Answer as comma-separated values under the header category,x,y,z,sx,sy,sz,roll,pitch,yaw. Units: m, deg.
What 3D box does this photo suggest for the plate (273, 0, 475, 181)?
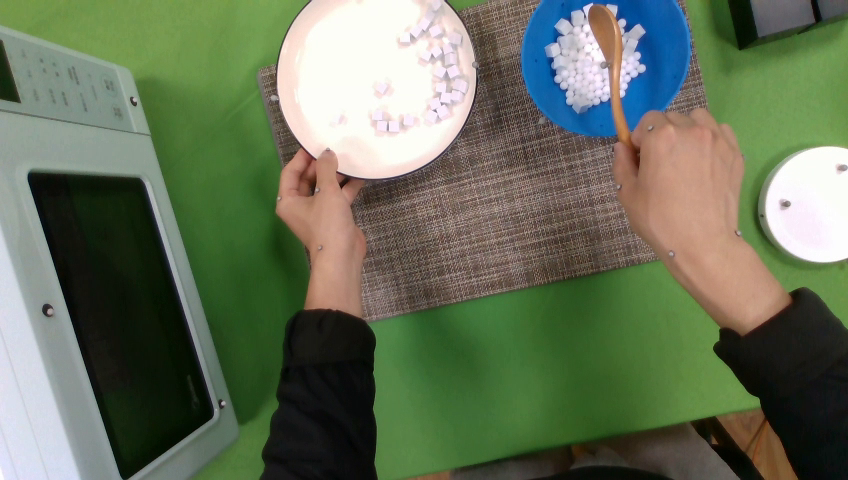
category,x,y,z,sx,sy,sz,roll,pitch,yaw
plate,-0.050,-0.163,0.629,0.209,0.038,0.209,0,91,6

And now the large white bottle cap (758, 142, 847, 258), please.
category,x,y,z,sx,sy,sz,roll,pitch,yaw
large white bottle cap,0.393,-0.039,0.599,0.115,0.018,0.115,0,95,7

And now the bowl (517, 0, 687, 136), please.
category,x,y,z,sx,sy,sz,roll,pitch,yaw
bowl,0.165,-0.173,0.585,0.151,0.077,0.151,1,95,8

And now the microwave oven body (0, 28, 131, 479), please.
category,x,y,z,sx,sy,sz,roll,pitch,yaw
microwave oven body,-0.438,0.067,0.599,0.326,0.260,0.442,-16,93,8

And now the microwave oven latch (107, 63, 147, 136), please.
category,x,y,z,sx,sy,sz,roll,pitch,yaw
microwave oven latch,-0.332,-0.150,0.662,0.030,0.029,0.079,-16,93,8

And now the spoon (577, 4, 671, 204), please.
category,x,y,z,sx,sy,sz,roll,pitch,yaw
spoon,0.172,-0.119,0.524,0.022,0.042,0.192,-10,76,-18

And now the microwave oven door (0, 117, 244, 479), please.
category,x,y,z,sx,sy,sz,roll,pitch,yaw
microwave oven door,-0.288,0.068,0.573,0.039,0.244,0.356,-16,92,9
